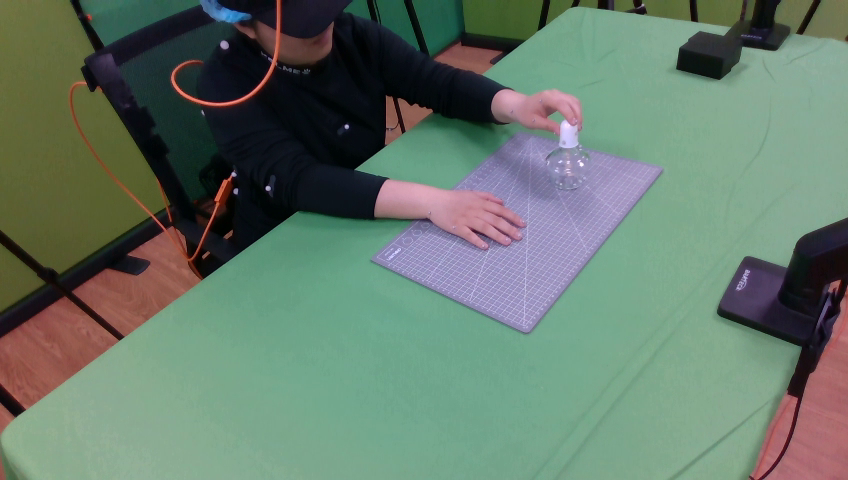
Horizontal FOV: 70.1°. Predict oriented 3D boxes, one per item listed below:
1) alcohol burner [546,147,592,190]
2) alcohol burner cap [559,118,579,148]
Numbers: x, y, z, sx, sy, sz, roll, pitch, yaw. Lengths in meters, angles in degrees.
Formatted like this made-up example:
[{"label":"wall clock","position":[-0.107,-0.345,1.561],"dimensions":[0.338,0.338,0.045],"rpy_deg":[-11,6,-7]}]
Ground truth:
[{"label":"alcohol burner","position":[0.247,-0.146,1.034],"dimensions":[0.078,0.120,0.077],"rpy_deg":[-7,41,6]},{"label":"alcohol burner cap","position":[0.242,-0.179,1.007],"dimensions":[0.034,0.048,0.033],"rpy_deg":[-8,36,6]}]
